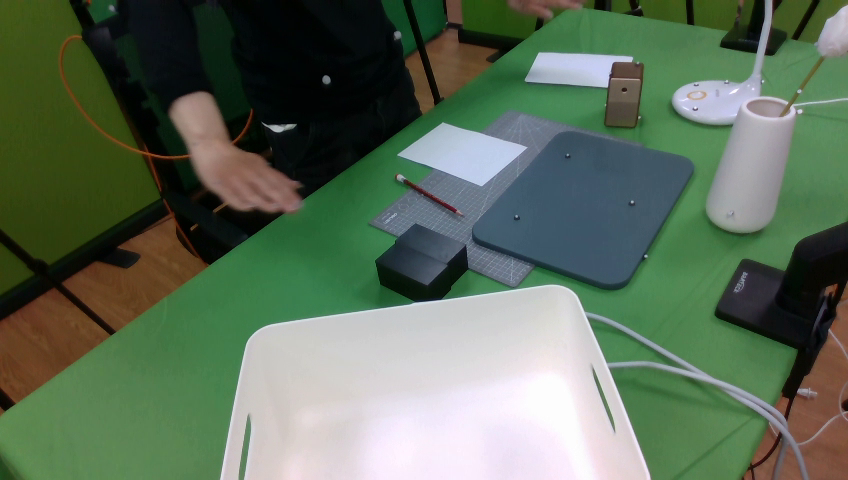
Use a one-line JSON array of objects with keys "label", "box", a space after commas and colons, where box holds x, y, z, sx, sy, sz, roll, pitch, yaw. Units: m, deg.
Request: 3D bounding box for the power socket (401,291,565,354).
[{"label": "power socket", "box": [0.079, 0.111, 0.823, 0.227, 0.033, 0.072, -5, 41, 1]}]

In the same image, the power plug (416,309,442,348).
[{"label": "power plug", "box": [0.004, 0.121, 0.787, 0.035, 0.053, 0.072, 2, 46, 8]}]

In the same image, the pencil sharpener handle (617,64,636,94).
[{"label": "pencil sharpener handle", "box": [0.401, -0.327, 1.211, 0.036, 0.068, 0.030, 16, 44, 8]}]

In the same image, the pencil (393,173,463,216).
[{"label": "pencil", "box": [0.006, -0.081, 1.071, 0.012, 0.012, 0.192, -31, 44, -26]}]

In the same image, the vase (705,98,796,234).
[{"label": "vase", "box": [0.480, -0.104, 0.889, 0.098, 0.201, 0.097, -4, 42, 4]}]

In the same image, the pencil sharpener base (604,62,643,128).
[{"label": "pencil sharpener base", "box": [0.390, -0.284, 1.182, 0.061, 0.107, 0.076, 7, 42, 17]}]

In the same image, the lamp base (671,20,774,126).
[{"label": "lamp base", "box": [0.581, -0.332, 1.154, 0.179, 0.181, 0.160, 2, 41, 7]}]

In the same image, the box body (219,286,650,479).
[{"label": "box body", "box": [0.006, 0.210, 0.618, 0.364, 0.161, 0.252, -8, 40, -1]}]

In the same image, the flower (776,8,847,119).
[{"label": "flower", "box": [0.476, -0.156, 0.822, 0.038, 0.362, 0.044, 8, 58, 2]}]

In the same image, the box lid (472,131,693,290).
[{"label": "box lid", "box": [0.273, -0.068, 1.020, 0.261, 0.015, 0.372, 20, 47, 28]}]
